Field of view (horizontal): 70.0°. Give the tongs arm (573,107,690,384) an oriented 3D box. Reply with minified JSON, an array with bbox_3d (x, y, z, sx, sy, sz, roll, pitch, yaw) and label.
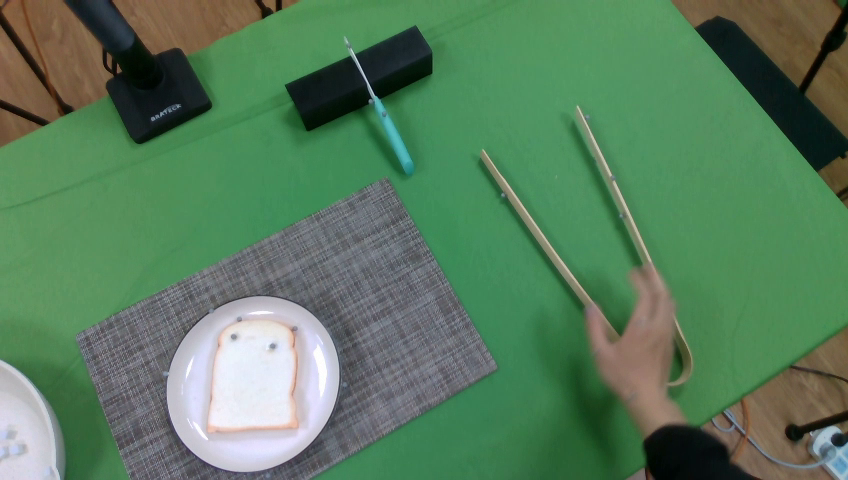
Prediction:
[{"bbox_3d":[0.258,-0.002,0.795,0.051,0.026,0.382,-20,74,-5],"label":"tongs arm"}]

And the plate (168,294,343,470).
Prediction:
[{"bbox_3d":[-0.201,0.170,0.737,0.208,0.039,0.206,0,72,0],"label":"plate"}]

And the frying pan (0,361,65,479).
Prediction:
[{"bbox_3d":[-0.556,0.369,0.644,0.307,0.103,0.484,3,64,2],"label":"frying pan"}]

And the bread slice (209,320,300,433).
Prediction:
[{"bbox_3d":[-0.207,0.165,0.740,0.107,0.018,0.133,-5,74,-2],"label":"bread slice"}]

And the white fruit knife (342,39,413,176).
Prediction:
[{"bbox_3d":[-0.067,-0.184,0.832,0.016,0.027,0.207,-27,88,-9],"label":"white fruit knife"}]

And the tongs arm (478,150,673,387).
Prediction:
[{"bbox_3d":[0.185,0.031,0.789,0.028,0.028,0.385,-32,75,-12],"label":"tongs arm"}]
